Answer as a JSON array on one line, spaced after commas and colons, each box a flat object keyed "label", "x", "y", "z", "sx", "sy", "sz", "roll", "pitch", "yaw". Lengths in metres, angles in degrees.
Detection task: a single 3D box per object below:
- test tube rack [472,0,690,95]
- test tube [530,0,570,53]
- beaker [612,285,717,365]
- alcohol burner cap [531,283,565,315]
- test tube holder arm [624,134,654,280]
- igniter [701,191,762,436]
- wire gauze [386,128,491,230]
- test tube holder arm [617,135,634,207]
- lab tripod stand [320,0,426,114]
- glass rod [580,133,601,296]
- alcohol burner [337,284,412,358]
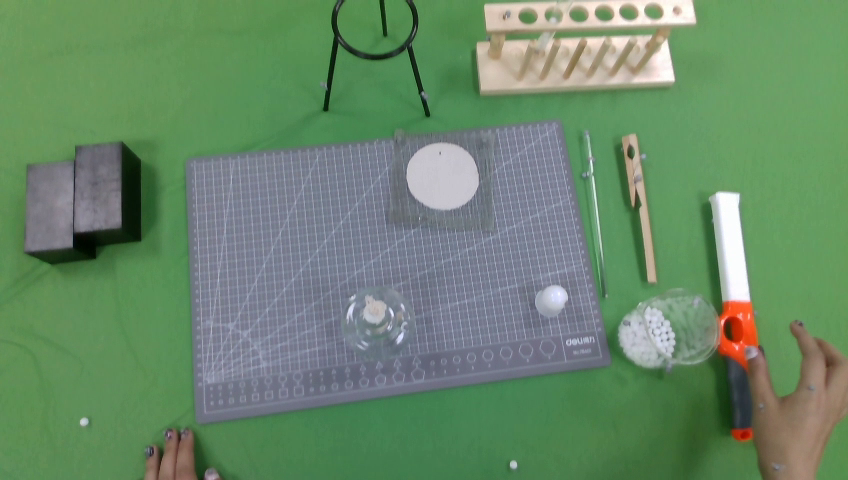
[{"label": "test tube rack", "x": 0.184, "y": -0.230, "z": 0.729, "sx": 0.242, "sy": 0.085, "sz": 0.066, "roll": -3, "pitch": 75, "yaw": -3}, {"label": "test tube", "x": 0.147, "y": -0.255, "z": 0.682, "sx": 0.017, "sy": 0.150, "sz": 0.017, "roll": 2, "pitch": 76, "yaw": -7}, {"label": "beaker", "x": 0.244, "y": 0.093, "z": 0.638, "sx": 0.084, "sy": 0.101, "sz": 0.073, "roll": 24, "pitch": 74, "yaw": 5}, {"label": "alcohol burner cap", "x": 0.139, "y": 0.062, "z": 0.668, "sx": 0.034, "sy": 0.048, "sz": 0.033, "roll": 1, "pitch": 75, "yaw": -2}, {"label": "test tube holder arm", "x": 0.253, "y": -0.041, "z": 0.715, "sx": 0.013, "sy": 0.015, "sz": 0.177, "roll": -13, "pitch": 74, "yaw": 29}, {"label": "igniter", "x": 0.346, "y": 0.077, "z": 0.684, "sx": 0.057, "sy": 0.025, "sz": 0.275, "roll": 3, "pitch": 75, "yaw": -12}, {"label": "wire gauze", "x": 0.018, "y": -0.075, "z": 0.717, "sx": 0.125, "sy": 0.011, "sz": 0.121, "roll": 4, "pitch": 76, "yaw": -3}, {"label": "test tube holder arm", "x": 0.244, "y": -0.083, "z": 0.728, "sx": 0.010, "sy": 0.015, "sz": 0.087, "roll": -12, "pitch": 74, "yaw": 29}, {"label": "lab tripod stand", "x": -0.059, "y": -0.207, "z": 0.686, "sx": 0.148, "sy": 0.132, "sz": 0.147, "roll": 1, "pitch": 77, "yaw": -2}, {"label": "glass rod", "x": 0.197, "y": -0.033, "z": 0.716, "sx": 0.008, "sy": 0.008, "sz": 0.198, "roll": -2, "pitch": 77, "yaw": -3}, {"label": "alcohol burner", "x": -0.052, "y": 0.079, "z": 0.617, "sx": 0.078, "sy": 0.119, "sz": 0.077, "roll": 0, "pitch": 74, "yaw": 0}]
